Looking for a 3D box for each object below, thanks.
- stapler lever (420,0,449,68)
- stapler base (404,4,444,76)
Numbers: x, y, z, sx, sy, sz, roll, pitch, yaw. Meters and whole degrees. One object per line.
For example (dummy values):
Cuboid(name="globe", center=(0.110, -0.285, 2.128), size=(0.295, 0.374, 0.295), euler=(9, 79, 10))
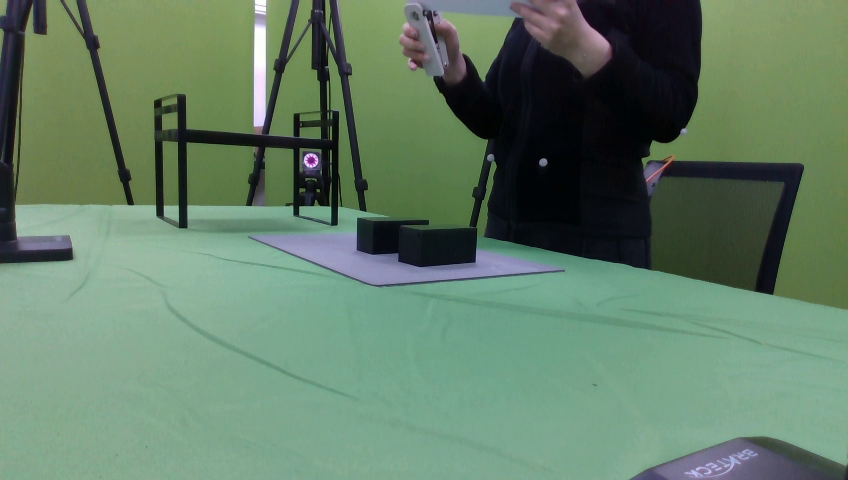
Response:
Cuboid(name="stapler lever", center=(0.021, -0.365, 1.069), size=(0.026, 0.118, 0.040), euler=(15, 48, 42))
Cuboid(name="stapler base", center=(0.005, -0.351, 1.055), size=(0.041, 0.131, 0.024), euler=(15, 49, 42))
